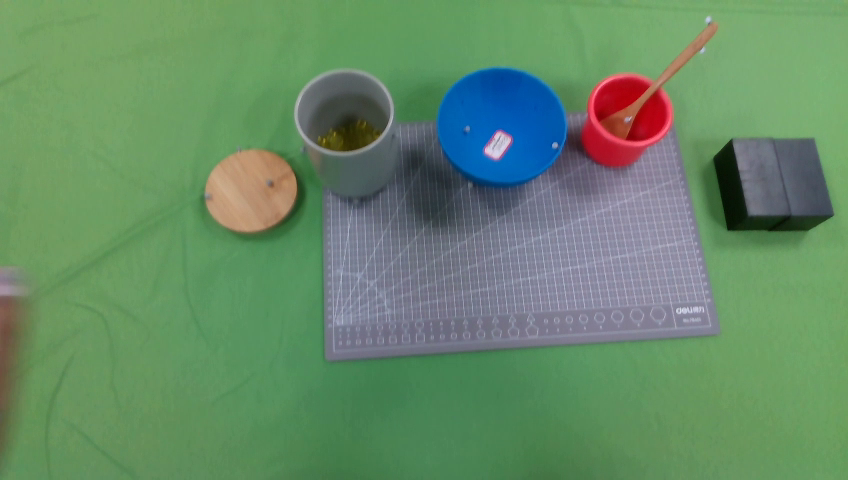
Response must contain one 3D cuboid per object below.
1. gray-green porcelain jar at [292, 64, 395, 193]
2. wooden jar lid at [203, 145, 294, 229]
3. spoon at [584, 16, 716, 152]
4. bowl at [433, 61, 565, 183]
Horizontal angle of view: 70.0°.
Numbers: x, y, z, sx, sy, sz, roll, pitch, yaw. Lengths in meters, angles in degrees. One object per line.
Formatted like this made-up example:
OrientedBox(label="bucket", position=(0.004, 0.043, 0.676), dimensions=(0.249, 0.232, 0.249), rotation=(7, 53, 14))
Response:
OrientedBox(label="gray-green porcelain jar", position=(-0.087, -0.120, 0.693), dimensions=(0.106, 0.127, 0.105), rotation=(0, 71, -1))
OrientedBox(label="wooden jar lid", position=(-0.210, -0.063, 0.731), dimensions=(0.108, 0.021, 0.107), rotation=(0, 72, 0))
OrientedBox(label="spoon", position=(0.263, -0.179, 0.709), dimensions=(0.041, 0.022, 0.194), rotation=(50, 122, 15))
OrientedBox(label="bowl", position=(0.085, -0.127, 0.724), dimensions=(0.151, 0.077, 0.150), rotation=(0, 72, -1))
